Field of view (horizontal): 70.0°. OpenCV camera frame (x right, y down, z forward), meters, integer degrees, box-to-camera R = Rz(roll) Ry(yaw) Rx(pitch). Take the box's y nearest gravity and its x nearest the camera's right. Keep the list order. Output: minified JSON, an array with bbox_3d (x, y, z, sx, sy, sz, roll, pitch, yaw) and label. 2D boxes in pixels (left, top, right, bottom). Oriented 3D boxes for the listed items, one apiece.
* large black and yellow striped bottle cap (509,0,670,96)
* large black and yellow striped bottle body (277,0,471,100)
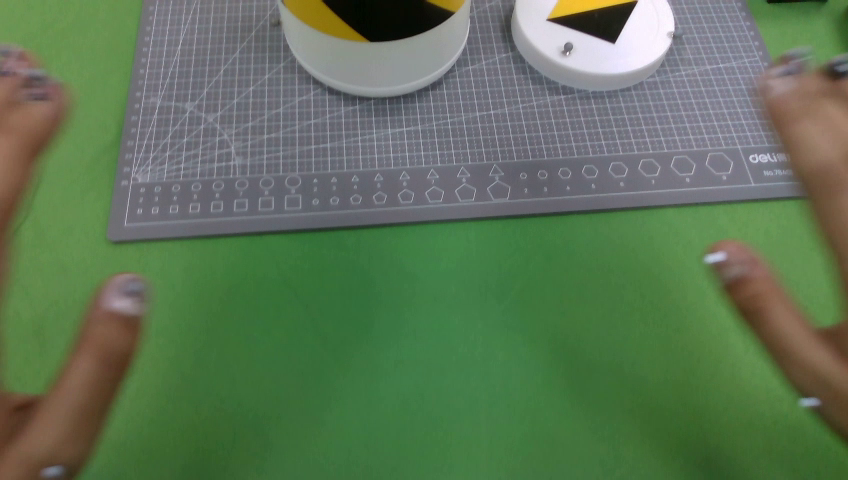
[{"bbox_3d":[0.119,-0.154,0.439,0.115,0.019,0.114,1,62,-2],"label":"large black and yellow striped bottle cap"},{"bbox_3d":[-0.031,-0.189,0.356,0.131,0.185,0.129,1,63,-1],"label":"large black and yellow striped bottle body"}]
